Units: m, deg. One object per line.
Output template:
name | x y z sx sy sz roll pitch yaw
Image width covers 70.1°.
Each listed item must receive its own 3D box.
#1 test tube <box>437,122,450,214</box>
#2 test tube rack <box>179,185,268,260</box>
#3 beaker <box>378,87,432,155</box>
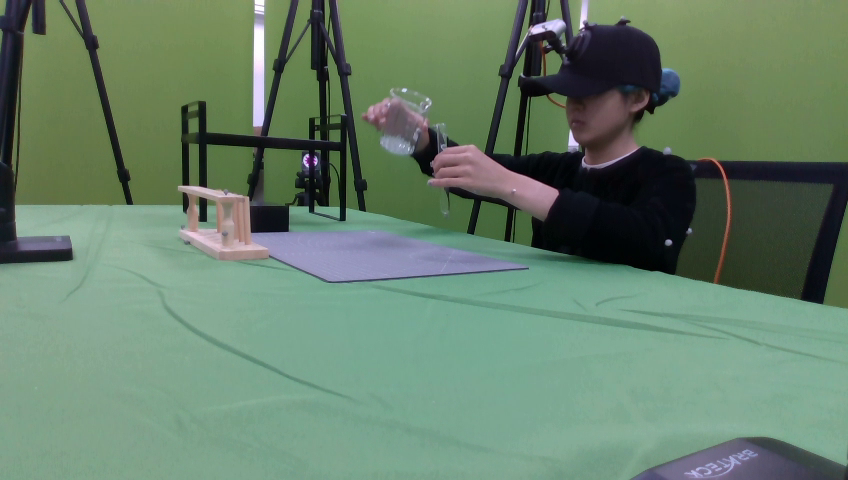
test tube | 0.033 -0.117 0.994 0.017 0.150 0.017 -3 8 1
test tube rack | -0.303 -0.031 0.898 0.067 0.085 0.241 -2 9 -33
beaker | -0.034 -0.205 1.058 0.074 0.100 0.083 -7 39 -40
